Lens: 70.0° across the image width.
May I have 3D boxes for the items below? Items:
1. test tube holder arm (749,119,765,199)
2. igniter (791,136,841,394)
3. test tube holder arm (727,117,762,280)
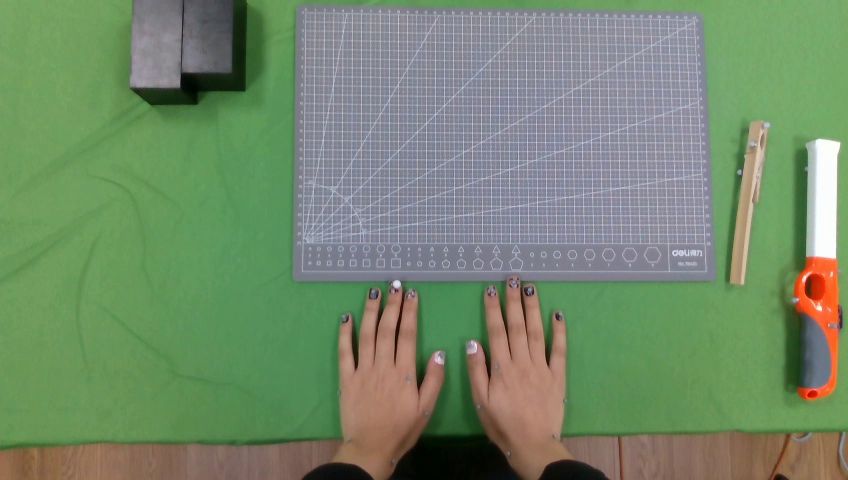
[{"bbox_3d":[0.359,-0.088,0.662,0.010,0.015,0.087,15,84,-34],"label":"test tube holder arm"},{"bbox_3d":[0.420,0.025,0.648,0.057,0.025,0.276,6,84,-11],"label":"igniter"},{"bbox_3d":[0.346,-0.045,0.655,0.013,0.015,0.178,13,85,-34],"label":"test tube holder arm"}]
